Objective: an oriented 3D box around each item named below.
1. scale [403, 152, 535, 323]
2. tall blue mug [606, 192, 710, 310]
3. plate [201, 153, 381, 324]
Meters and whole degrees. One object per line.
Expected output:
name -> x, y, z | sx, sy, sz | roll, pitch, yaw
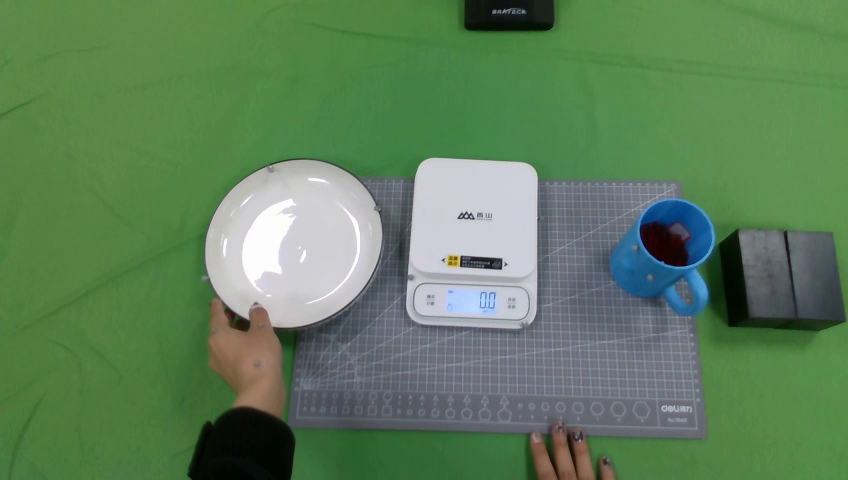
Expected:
scale -> 0.054, -0.007, 0.706 | 0.148, 0.032, 0.199 | 3, 73, 3
tall blue mug -> 0.261, 0.014, 0.652 | 0.106, 0.108, 0.077 | 37, 76, 13
plate -> -0.152, -0.001, 0.708 | 0.209, 0.038, 0.207 | -1, 71, 4
